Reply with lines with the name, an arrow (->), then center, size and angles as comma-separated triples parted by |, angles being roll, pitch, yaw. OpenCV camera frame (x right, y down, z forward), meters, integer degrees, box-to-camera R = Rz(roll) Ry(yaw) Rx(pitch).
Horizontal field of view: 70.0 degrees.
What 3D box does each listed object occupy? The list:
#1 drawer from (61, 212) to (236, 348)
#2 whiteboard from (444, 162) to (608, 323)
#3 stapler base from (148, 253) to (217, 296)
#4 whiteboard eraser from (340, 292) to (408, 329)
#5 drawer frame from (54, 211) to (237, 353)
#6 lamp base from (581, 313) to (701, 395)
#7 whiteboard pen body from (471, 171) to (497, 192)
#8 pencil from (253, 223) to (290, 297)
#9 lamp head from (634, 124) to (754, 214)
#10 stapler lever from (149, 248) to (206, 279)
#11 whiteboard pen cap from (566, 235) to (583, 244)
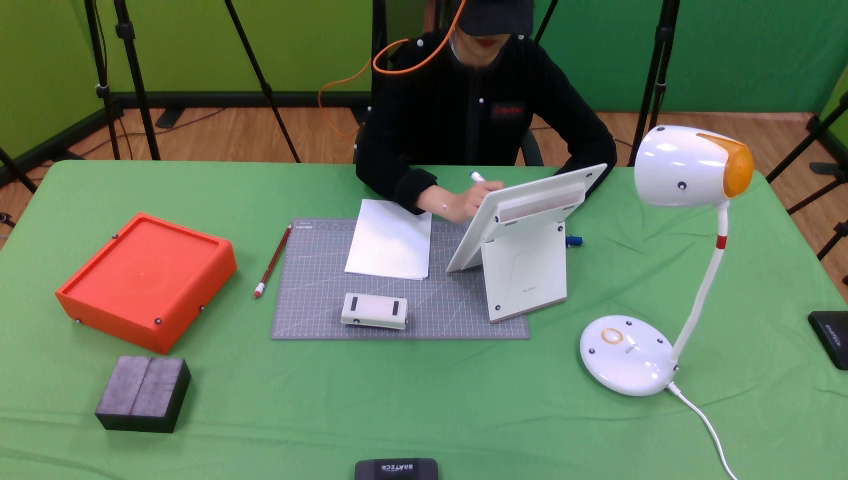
drawer -> -0.473, 0.064, 1.060 | 0.194, 0.073, 0.211 | 18, 48, 11
whiteboard -> 0.186, 0.026, 1.028 | 0.217, 0.306, 0.143 | -14, 68, -17
stapler base -> -0.443, 0.059, 1.109 | 0.130, 0.024, 0.041 | 24, 51, 11
whiteboard eraser -> -0.087, 0.125, 1.052 | 0.113, 0.042, 0.055 | 5, 45, 1
drawer frame -> -0.473, 0.067, 1.055 | 0.201, 0.083, 0.212 | 17, 48, 11
lamp base -> 0.361, 0.144, 0.972 | 0.178, 0.181, 0.160 | 34, 53, 23
whiteboard pen body -> 0.138, -0.084, 1.133 | 0.017, 0.017, 0.140 | -29, 59, -27
pencil -> -0.286, 0.033, 1.150 | 0.012, 0.012, 0.193 | 9, 46, 4
lamp head -> 0.351, -0.089, 0.775 | 0.112, 0.113, 0.122 | -30, 30, -28
stapler lever -> -0.443, 0.037, 1.084 | 0.118, 0.040, 0.027 | 19, 50, 17
whiteboard pen cap -> 0.303, 0.000, 1.221 | 0.033, 0.018, 0.018 | 3, 46, -2
